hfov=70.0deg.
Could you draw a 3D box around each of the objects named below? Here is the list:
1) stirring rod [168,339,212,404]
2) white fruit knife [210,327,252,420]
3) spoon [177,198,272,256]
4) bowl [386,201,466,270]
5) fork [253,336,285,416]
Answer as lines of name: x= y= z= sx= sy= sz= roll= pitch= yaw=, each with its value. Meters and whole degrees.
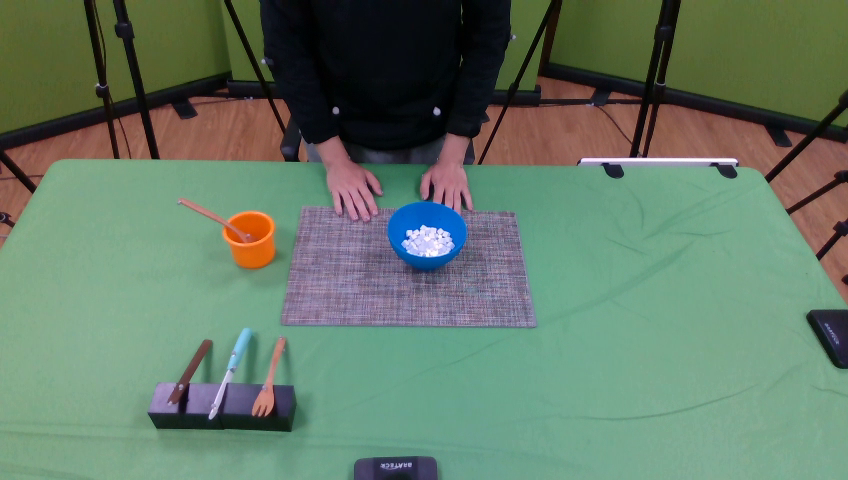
stirring rod: x=-0.360 y=0.199 z=0.939 sx=0.014 sy=0.006 sz=0.175 roll=9 pitch=20 yaw=-6
white fruit knife: x=-0.298 y=0.200 z=0.938 sx=0.016 sy=0.027 sz=0.206 roll=-1 pitch=30 yaw=0
spoon: x=-0.361 y=-0.025 z=1.107 sx=0.021 sy=0.195 sz=0.041 roll=-31 pitch=37 yaw=29
bowl: x=0.002 y=0.004 z=1.150 sx=0.151 sy=0.077 sz=0.150 roll=2 pitch=46 yaw=-2
fork: x=-0.235 y=0.206 z=0.938 sx=0.028 sy=0.019 sz=0.206 roll=-2 pitch=26 yaw=-3
